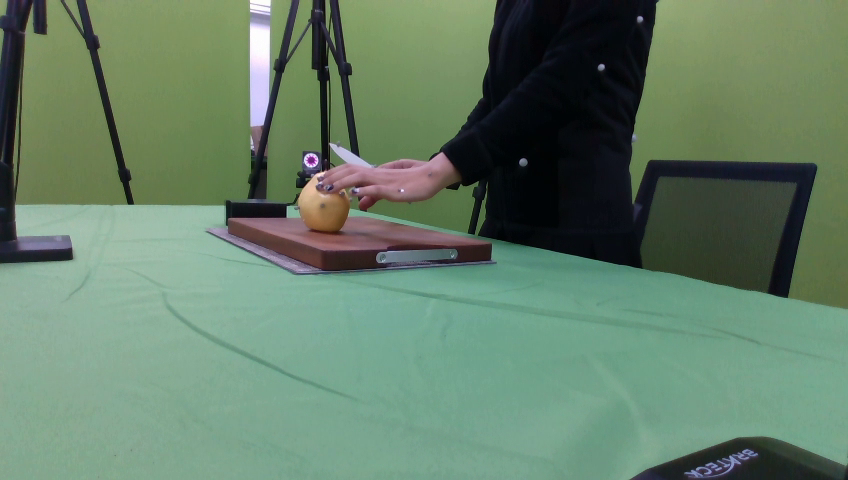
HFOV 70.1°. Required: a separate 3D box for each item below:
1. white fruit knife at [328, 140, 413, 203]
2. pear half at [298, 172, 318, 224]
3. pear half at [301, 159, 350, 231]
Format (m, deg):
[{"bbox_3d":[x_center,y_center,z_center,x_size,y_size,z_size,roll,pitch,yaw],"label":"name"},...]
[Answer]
[{"bbox_3d":[-0.092,-0.125,1.089,0.208,0.027,0.016,31,-19,-38],"label":"white fruit knife"},{"bbox_3d":[-0.172,-0.062,0.938,0.031,0.088,0.071,8,14,34],"label":"pear half"},{"bbox_3d":[-0.143,-0.068,0.916,0.055,0.110,0.077,7,12,34],"label":"pear half"}]
